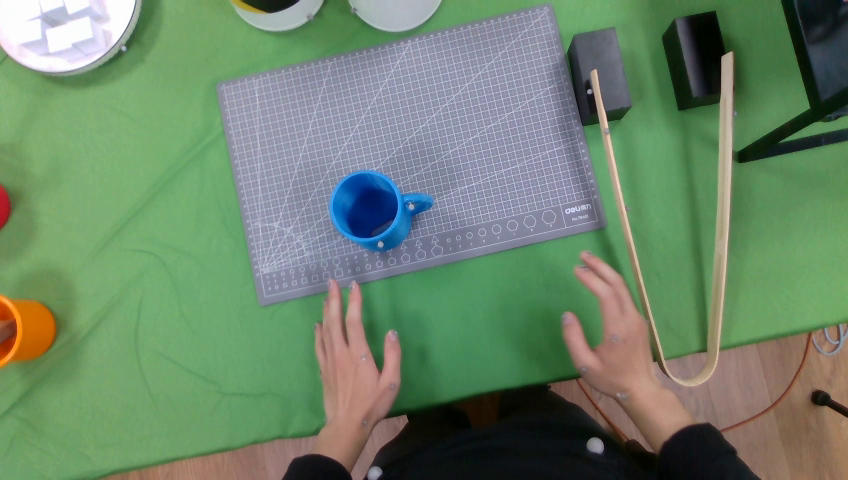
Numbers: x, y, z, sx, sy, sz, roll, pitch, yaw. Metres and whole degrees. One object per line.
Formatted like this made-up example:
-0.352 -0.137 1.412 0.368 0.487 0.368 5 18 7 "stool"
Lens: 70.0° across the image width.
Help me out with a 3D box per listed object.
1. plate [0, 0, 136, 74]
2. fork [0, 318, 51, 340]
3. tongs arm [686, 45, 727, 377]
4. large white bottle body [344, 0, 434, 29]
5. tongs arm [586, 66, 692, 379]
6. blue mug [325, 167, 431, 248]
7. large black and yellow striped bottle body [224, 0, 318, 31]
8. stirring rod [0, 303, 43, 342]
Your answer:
-0.480 -0.319 0.806 0.207 0.039 0.207 0 85 3 "plate"
-0.563 0.102 0.717 0.209 0.018 0.028 10 81 -39 "fork"
0.337 -0.030 0.714 0.028 0.027 0.387 1 94 -3 "tongs arm"
-0.051 -0.347 0.709 0.130 0.185 0.130 0 84 4 "large white bottle body"
0.255 -0.019 0.718 0.051 0.026 0.385 -12 94 1 "tongs arm"
-0.049 -0.039 0.720 0.116 0.106 0.082 -12 84 2 "blue mug"
-0.205 -0.348 0.719 0.131 0.184 0.130 0 84 4 "large black and yellow striped bottle body"
-0.532 0.134 0.719 0.014 0.006 0.175 34 45 3 "stirring rod"
